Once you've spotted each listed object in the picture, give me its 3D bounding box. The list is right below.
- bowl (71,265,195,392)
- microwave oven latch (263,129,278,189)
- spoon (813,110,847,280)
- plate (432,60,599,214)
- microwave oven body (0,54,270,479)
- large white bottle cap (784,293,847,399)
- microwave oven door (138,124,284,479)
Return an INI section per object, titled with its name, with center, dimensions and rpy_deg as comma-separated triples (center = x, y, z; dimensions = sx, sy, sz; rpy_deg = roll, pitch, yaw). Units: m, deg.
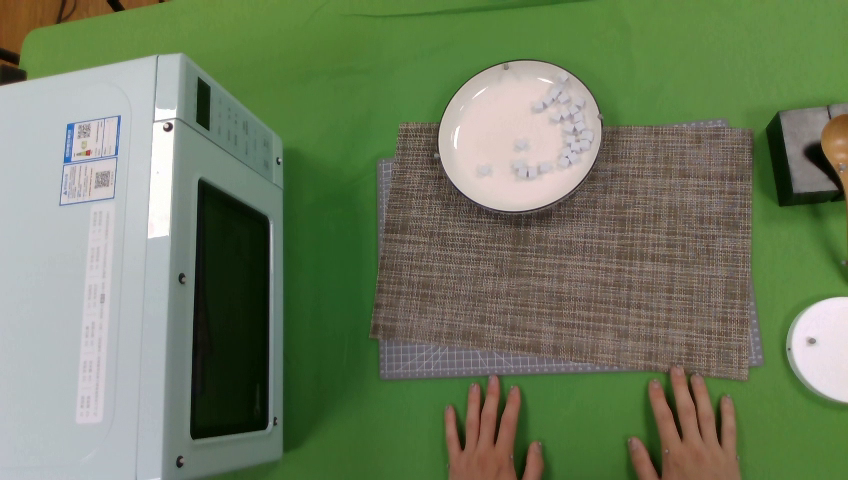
[bowl]
center = -0.340, 0.111, 0.745
dimensions = 0.151, 0.077, 0.150
rpy_deg = -3, 76, 12
[microwave oven latch]
center = -0.219, -0.111, 0.836
dimensions = 0.030, 0.030, 0.079
rpy_deg = -7, 77, 11
[spoon]
center = 0.455, -0.043, 0.657
dimensions = 0.041, 0.021, 0.194
rpy_deg = -11, 97, 9
[plate]
center = 0.116, -0.129, 0.778
dimensions = 0.209, 0.038, 0.208
rpy_deg = -3, 76, 12
[microwave oven body]
center = -0.374, 0.056, 0.733
dimensions = 0.325, 0.262, 0.439
rpy_deg = -7, 77, 11
[large white bottle cap]
center = 0.457, 0.115, 0.659
dimensions = 0.114, 0.018, 0.114
rpy_deg = -3, 77, 12
[microwave oven door]
center = -0.231, 0.079, 0.690
dimensions = 0.039, 0.245, 0.354
rpy_deg = -7, 76, 12
